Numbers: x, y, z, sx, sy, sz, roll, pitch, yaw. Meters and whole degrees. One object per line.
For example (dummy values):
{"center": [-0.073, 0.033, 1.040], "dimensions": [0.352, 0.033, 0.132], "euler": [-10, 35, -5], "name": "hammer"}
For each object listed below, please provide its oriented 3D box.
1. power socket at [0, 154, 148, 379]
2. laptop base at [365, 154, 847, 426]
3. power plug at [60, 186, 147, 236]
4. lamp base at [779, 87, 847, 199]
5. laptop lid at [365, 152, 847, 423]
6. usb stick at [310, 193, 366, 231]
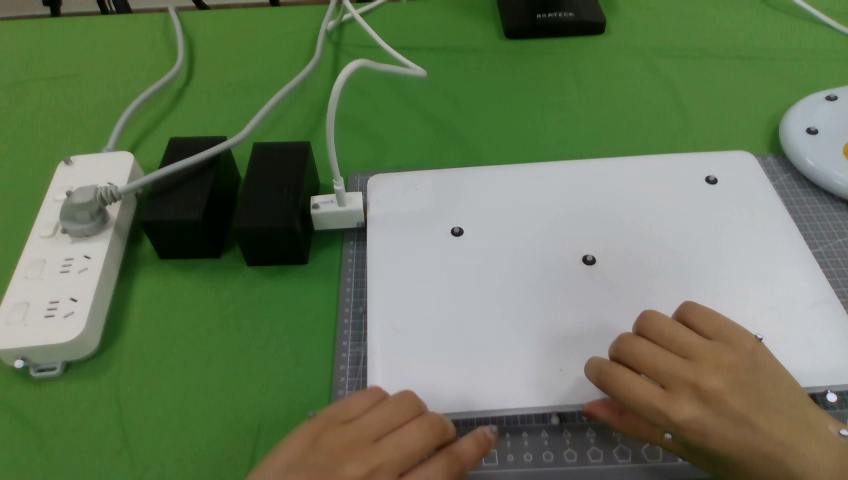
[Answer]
{"center": [-0.289, 0.008, 0.508], "dimensions": [0.072, 0.033, 0.224], "euler": [-4, 49, -3], "name": "power socket"}
{"center": [0.131, 0.027, 0.488], "dimensions": [0.354, 0.023, 0.233], "euler": [-4, 53, -1], "name": "laptop base"}
{"center": [-0.261, -0.017, 0.498], "dimensions": [0.072, 0.053, 0.035], "euler": [3, 50, 4], "name": "power plug"}
{"center": [0.424, -0.145, 0.517], "dimensions": [0.159, 0.182, 0.179], "euler": [28, 53, 24], "name": "lamp base"}
{"center": [0.130, 0.020, 0.476], "dimensions": [0.357, 0.013, 0.239], "euler": [-3, 51, 0], "name": "laptop lid"}
{"center": [-0.067, -0.024, 0.520], "dimensions": [0.059, 0.027, 0.021], "euler": [-3, 49, -7], "name": "usb stick"}
